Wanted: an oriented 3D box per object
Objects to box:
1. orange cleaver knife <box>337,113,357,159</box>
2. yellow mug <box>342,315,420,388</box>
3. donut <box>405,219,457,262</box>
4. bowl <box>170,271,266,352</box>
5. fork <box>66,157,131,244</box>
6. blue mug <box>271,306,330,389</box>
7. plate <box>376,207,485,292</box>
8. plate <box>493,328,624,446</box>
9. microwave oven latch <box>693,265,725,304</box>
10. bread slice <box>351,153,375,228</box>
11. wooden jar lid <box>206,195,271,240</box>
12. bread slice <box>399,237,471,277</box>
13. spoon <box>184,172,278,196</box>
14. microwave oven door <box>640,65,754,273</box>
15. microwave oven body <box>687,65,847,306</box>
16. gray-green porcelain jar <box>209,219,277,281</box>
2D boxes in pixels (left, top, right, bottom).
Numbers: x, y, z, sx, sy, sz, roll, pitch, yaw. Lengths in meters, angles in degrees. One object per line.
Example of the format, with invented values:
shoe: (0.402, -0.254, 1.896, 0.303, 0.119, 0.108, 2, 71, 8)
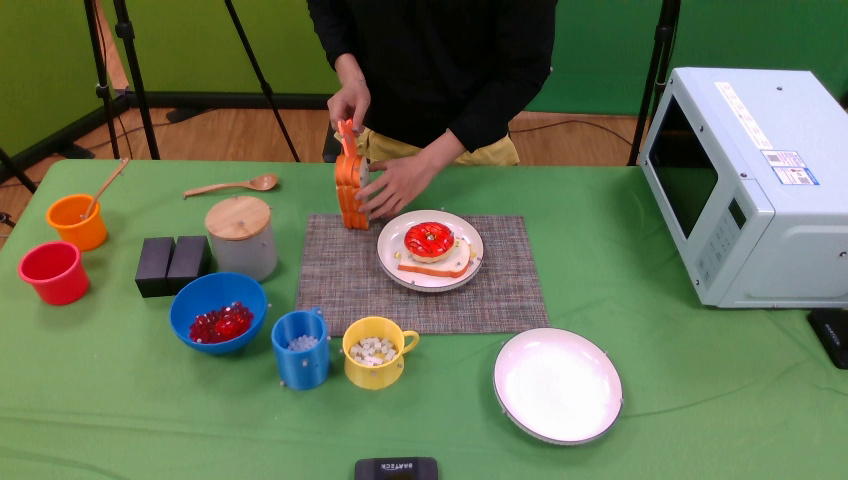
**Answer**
orange cleaver knife: (-0.141, -0.201, 1.151, 0.012, 0.077, 0.210, -14, 19, 4)
yellow mug: (-0.068, 0.177, 0.990, 0.131, 0.064, 0.099, -15, 50, -19)
donut: (0.012, -0.001, 1.141, 0.099, 0.048, 0.098, 0, 44, 0)
bowl: (-0.333, 0.132, 1.006, 0.151, 0.077, 0.150, 2, 46, -2)
fork: (-0.608, -0.074, 1.132, 0.207, 0.019, 0.028, -52, 48, 10)
blue mug: (-0.188, 0.163, 0.969, 0.082, 0.106, 0.116, 15, 47, 10)
plate: (0.012, 0.021, 1.159, 0.209, 0.038, 0.208, 2, 47, -2)
plate: (0.213, 0.236, 0.974, 0.208, 0.039, 0.206, 2, 46, -2)
microwave oven latch: (0.522, 0.081, 1.115, 0.030, 0.029, 0.078, 2, 46, -1)
bread slice: (-0.121, -0.104, 1.208, 0.018, 0.135, 0.106, -3, 46, 7)
wooden jar lid: (-0.319, -0.036, 1.046, 0.108, 0.021, 0.107, 1, 44, 0)
bread slice: (0.025, 0.025, 1.161, 0.131, 0.019, 0.104, 7, 47, 8)
spoon: (-0.405, -0.117, 1.275, 0.194, 0.022, 0.041, -8, 66, -12)
microwave oven door: (0.523, -0.147, 1.193, 0.039, 0.245, 0.353, 0, 47, -3)
microwave oven body: (0.669, -0.111, 1.176, 0.326, 0.261, 0.439, 0, 46, -3)
gray-green porcelain jar: (-0.323, 0.007, 1.092, 0.106, 0.127, 0.105, 2, 46, -2)
